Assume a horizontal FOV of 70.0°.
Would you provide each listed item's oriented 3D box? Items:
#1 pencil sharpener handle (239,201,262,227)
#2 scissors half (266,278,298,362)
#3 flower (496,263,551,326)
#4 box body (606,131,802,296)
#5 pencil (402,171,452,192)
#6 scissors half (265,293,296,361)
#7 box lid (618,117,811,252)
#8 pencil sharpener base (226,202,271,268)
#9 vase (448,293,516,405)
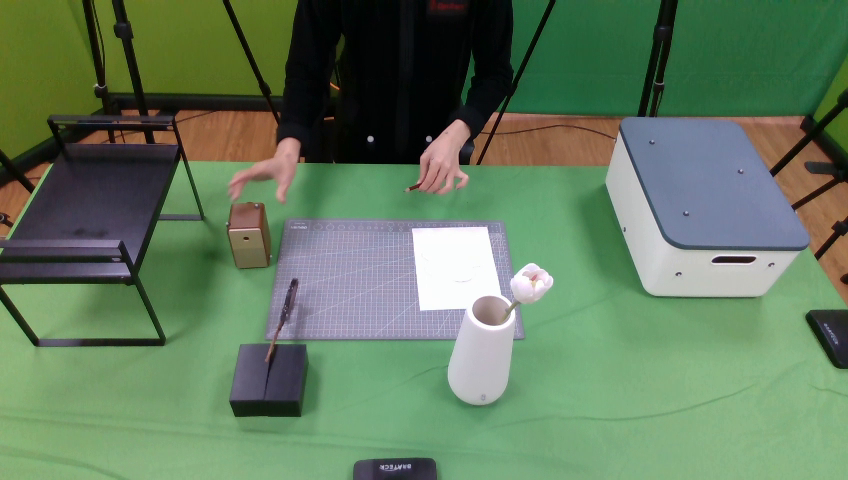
[{"bbox_3d":[-0.325,-0.055,1.150,0.036,0.068,0.030,-12,46,2],"label":"pencil sharpener handle"},{"bbox_3d":[-0.234,0.127,0.993,0.013,0.040,0.174,12,46,-3],"label":"scissors half"},{"bbox_3d":[0.102,0.120,0.853,0.044,0.363,0.038,-1,64,-10],"label":"flower"},{"bbox_3d":[0.530,-0.067,1.204,0.254,0.161,0.361,0,46,-4],"label":"box body"},{"bbox_3d":[0.007,-0.120,1.236,0.012,0.012,0.194,29,29,21],"label":"pencil"},{"bbox_3d":[-0.239,0.143,1.005,0.013,0.040,0.174,17,28,-6],"label":"scissors half"},{"bbox_3d":[0.534,-0.117,1.148,0.263,0.015,0.369,0,47,-3],"label":"box lid"},{"bbox_3d":[-0.323,-0.010,1.123,0.061,0.107,0.076,-3,46,-7],"label":"pencil sharpener base"},{"bbox_3d":[0.091,0.169,0.921,0.098,0.201,0.097,3,47,-3],"label":"vase"}]
